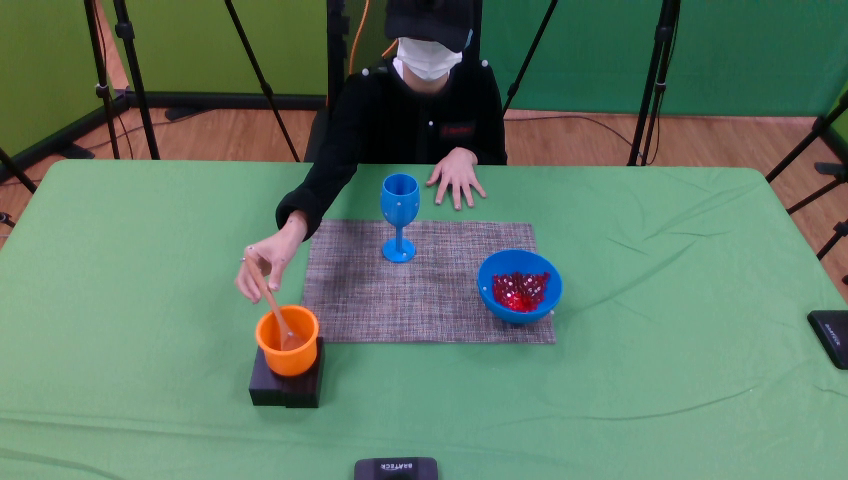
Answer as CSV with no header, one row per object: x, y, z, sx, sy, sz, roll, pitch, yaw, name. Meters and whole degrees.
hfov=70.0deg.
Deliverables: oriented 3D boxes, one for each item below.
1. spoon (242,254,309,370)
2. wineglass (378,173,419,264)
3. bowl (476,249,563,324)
-0.226,0.108,0.918,0.041,0.194,0.021,-28,9,-32,spoon
-0.047,-0.037,1.121,0.074,0.173,0.073,2,46,-2,wineglass
0.163,0.096,1.073,0.151,0.077,0.150,2,45,-2,bowl
